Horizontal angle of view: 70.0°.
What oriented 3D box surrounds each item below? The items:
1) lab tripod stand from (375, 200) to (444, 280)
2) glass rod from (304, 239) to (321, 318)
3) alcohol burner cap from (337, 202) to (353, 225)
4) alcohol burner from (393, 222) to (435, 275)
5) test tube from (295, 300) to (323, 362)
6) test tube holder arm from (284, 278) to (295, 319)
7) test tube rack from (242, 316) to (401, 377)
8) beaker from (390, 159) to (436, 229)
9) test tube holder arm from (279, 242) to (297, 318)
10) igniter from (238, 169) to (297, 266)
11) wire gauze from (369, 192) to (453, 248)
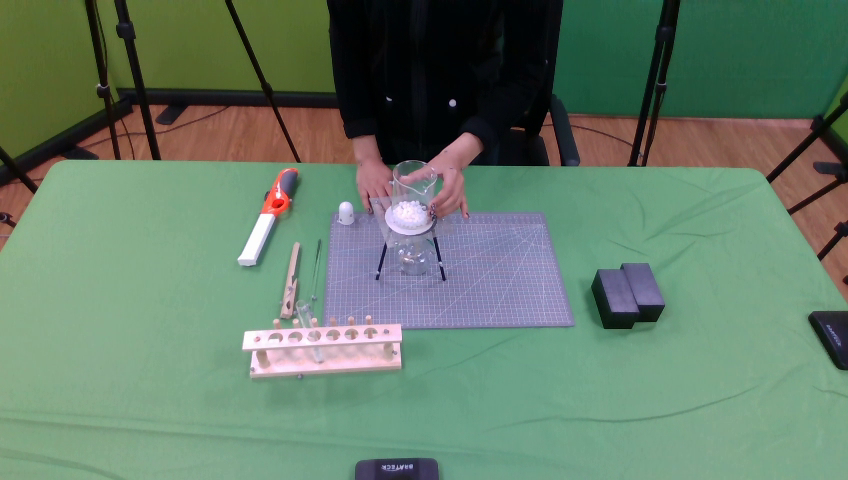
[{"bbox_3d":[-0.023,0.004,1.114,0.148,0.132,0.147,4,45,-3],"label":"lab tripod stand"},{"bbox_3d":[-0.207,0.068,1.127,0.008,0.008,0.198,2,43,-2],"label":"glass rod"},{"bbox_3d":[-0.161,-0.056,1.223,0.034,0.048,0.033,2,46,-2],"label":"alcohol burner cap"},{"bbox_3d":[-0.018,0.009,1.122,0.078,0.119,0.077,3,47,-3],"label":"alcohol burner"},{"bbox_3d":[-0.176,0.143,0.935,0.017,0.151,0.017,-2,46,2],"label":"test tube"},{"bbox_3d":[-0.242,0.103,1.085,0.010,0.015,0.087,26,38,-27],"label":"test tube holder arm"},{"bbox_3d":[-0.161,0.166,0.983,0.242,0.085,0.066,-2,46,-6],"label":"test tube rack"},{"bbox_3d":[-0.020,-0.073,1.030,0.074,0.101,0.083,-9,47,-17],"label":"beaker"},{"bbox_3d":[-0.249,0.069,1.114,0.013,0.015,0.177,25,38,-27],"label":"test tube holder arm"},{"bbox_3d":[-0.313,-0.055,1.224,0.057,0.025,0.275,1,45,10],"label":"igniter"},{"bbox_3d":[-0.025,-0.041,1.065,0.122,0.011,0.124,-10,46,-18],"label":"wire gauze"}]
